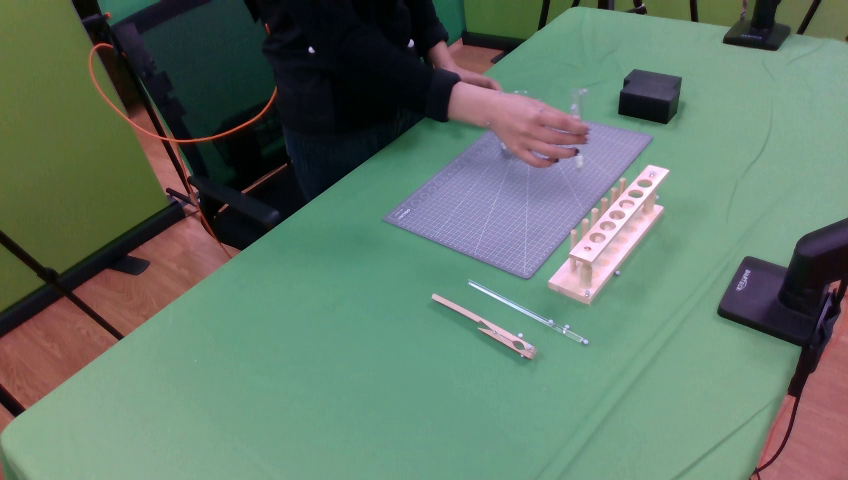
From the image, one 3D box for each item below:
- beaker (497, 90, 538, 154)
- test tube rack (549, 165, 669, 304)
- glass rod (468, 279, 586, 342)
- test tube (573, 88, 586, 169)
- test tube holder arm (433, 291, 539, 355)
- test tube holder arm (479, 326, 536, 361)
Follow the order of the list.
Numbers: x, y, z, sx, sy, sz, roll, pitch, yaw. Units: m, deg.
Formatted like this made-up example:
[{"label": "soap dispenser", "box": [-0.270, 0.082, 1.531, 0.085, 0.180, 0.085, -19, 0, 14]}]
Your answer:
[{"label": "beaker", "box": [0.176, -0.220, 1.143, 0.073, 0.101, 0.084, 27, 53, 35]}, {"label": "test tube rack", "box": [0.279, -0.018, 0.902, 0.066, 0.085, 0.243, 24, 50, 33]}, {"label": "glass rod", "box": [0.140, 0.096, 0.853, 0.198, 0.008, 0.008, 27, 52, 35]}, {"label": "test tube", "box": [0.225, -0.157, 0.873, 0.017, 0.151, 0.017, -8, 51, 10]}, {"label": "test tube holder arm", "box": [0.081, 0.112, 0.832, 0.177, 0.015, 0.013, 29, 83, 36]}, {"label": "test tube holder arm", "box": [0.110, 0.134, 0.805, 0.087, 0.015, 0.010, 29, 84, 36]}]
